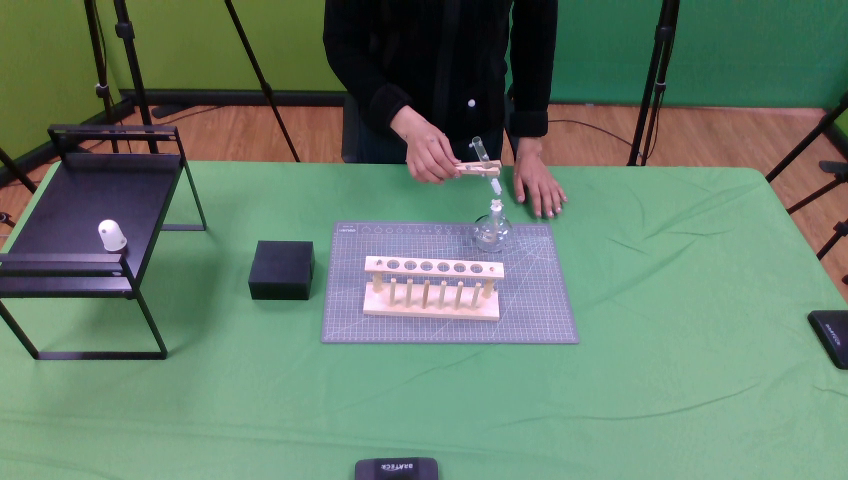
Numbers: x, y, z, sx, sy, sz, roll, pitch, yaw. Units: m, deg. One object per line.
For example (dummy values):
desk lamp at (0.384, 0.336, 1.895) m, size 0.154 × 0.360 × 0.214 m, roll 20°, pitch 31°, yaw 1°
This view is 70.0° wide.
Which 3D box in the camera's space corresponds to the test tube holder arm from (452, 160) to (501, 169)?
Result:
test tube holder arm at (0.092, -0.130, 1.068) m, size 0.087 × 0.015 × 0.010 m, roll -2°, pitch 54°, yaw 22°

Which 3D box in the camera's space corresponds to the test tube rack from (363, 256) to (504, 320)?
test tube rack at (0.015, 0.085, 1.069) m, size 0.242 × 0.085 × 0.066 m, roll 3°, pitch 45°, yaw -2°

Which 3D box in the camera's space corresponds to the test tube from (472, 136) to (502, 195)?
test tube at (0.112, -0.127, 1.056) m, size 0.017 × 0.151 × 0.017 m, roll -12°, pitch 54°, yaw 17°

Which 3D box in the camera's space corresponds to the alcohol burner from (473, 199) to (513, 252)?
alcohol burner at (0.135, -0.034, 1.174) m, size 0.078 × 0.120 × 0.077 m, roll 1°, pitch 47°, yaw -1°

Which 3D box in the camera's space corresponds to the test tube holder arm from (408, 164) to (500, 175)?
test tube holder arm at (0.050, -0.127, 1.085) m, size 0.178 × 0.015 × 0.013 m, roll 4°, pitch 56°, yaw 26°

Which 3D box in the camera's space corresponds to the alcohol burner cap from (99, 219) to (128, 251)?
alcohol burner cap at (-0.467, -0.010, 0.907) m, size 0.034 × 0.048 × 0.033 m, roll 1°, pitch 47°, yaw -1°
